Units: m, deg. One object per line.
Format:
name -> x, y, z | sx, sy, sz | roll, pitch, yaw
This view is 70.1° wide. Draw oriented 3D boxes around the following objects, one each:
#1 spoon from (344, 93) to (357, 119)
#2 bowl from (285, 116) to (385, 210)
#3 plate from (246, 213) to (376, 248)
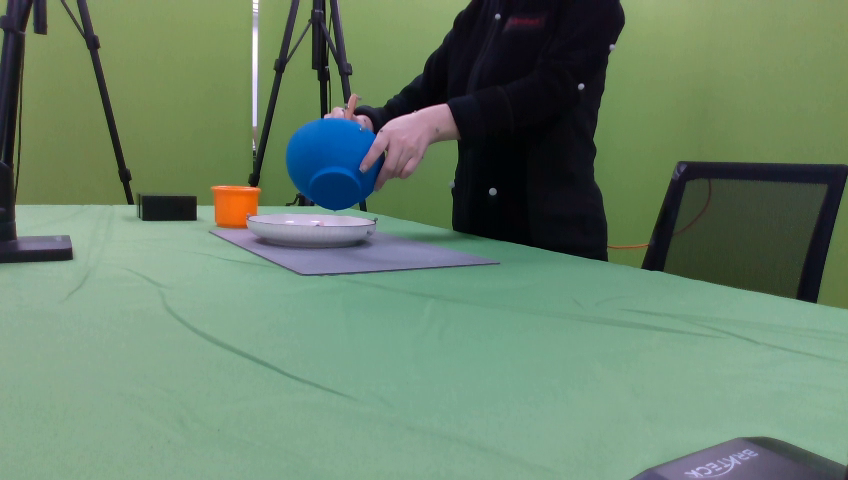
spoon -> -0.137, -0.163, 0.993 | 0.042, 0.193, 0.021 | 12, -27, -2
bowl -> -0.131, -0.097, 0.887 | 0.152, 0.151, 0.076 | 1, 45, -7
plate -> -0.185, -0.017, 0.994 | 0.209, 0.038, 0.209 | 3, 8, 0
